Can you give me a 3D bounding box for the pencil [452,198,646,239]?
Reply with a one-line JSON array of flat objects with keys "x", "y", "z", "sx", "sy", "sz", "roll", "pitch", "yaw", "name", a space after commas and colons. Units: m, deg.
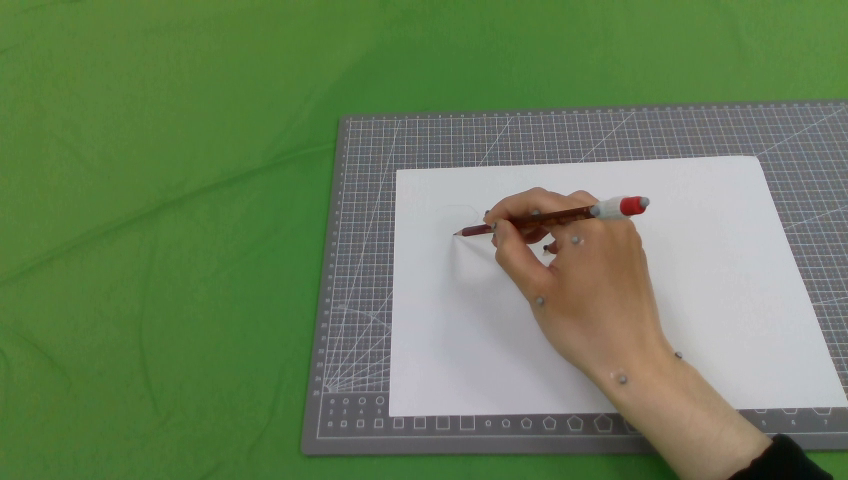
[{"x": 0.064, "y": -0.010, "z": 0.384, "sx": 0.012, "sy": 0.193, "sz": 0.012, "roll": 2, "pitch": 85, "yaw": -26, "name": "pencil"}]
